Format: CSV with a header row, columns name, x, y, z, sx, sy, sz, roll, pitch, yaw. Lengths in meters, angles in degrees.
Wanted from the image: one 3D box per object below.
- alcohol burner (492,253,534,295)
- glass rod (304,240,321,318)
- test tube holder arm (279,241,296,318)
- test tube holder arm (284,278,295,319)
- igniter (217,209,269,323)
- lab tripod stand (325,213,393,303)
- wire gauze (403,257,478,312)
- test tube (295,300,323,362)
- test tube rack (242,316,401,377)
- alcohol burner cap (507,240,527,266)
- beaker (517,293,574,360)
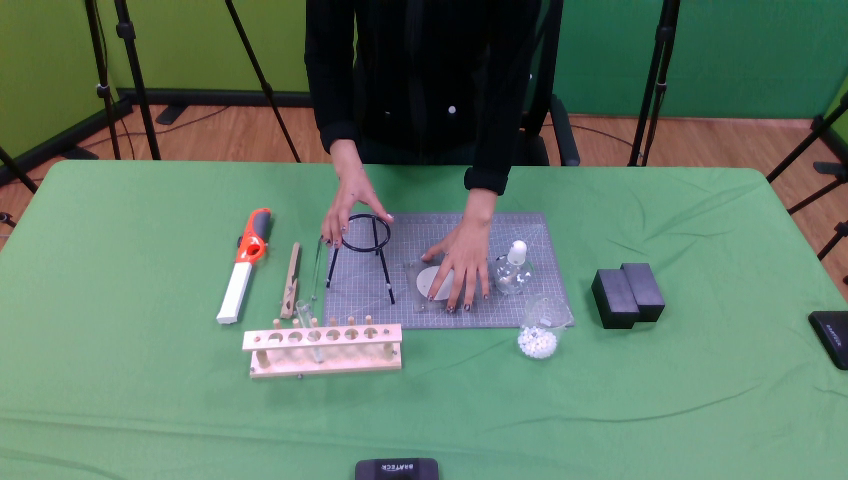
name,x,y,z,sx,sy,sz,roll,pitch,yaw
alcohol burner,0.165,0.045,1.102,0.078,0.119,0.077,3,47,-3
glass rod,-0.207,0.068,1.128,0.008,0.008,0.198,2,43,-2
test tube holder arm,-0.250,0.068,1.113,0.013,0.015,0.177,27,38,-30
test tube holder arm,-0.242,0.103,1.085,0.010,0.015,0.087,28,37,-29
igniter,-0.334,0.039,1.132,0.057,0.025,0.275,-4,46,6
lab tripod stand,-0.104,0.031,1.080,0.148,0.132,0.147,4,45,-3
wire gauze,0.030,0.078,1.132,0.121,0.011,0.124,-6,43,-9
test tube,-0.176,0.143,0.935,0.017,0.151,0.017,-2,46,2
test tube rack,-0.161,0.166,0.983,0.242,0.085,0.066,-2,46,-6
alcohol burner cap,0.167,0.021,1.075,0.034,0.048,0.033,0,55,0
beaker,0.200,0.149,1.018,0.084,0.101,0.073,14,47,8
